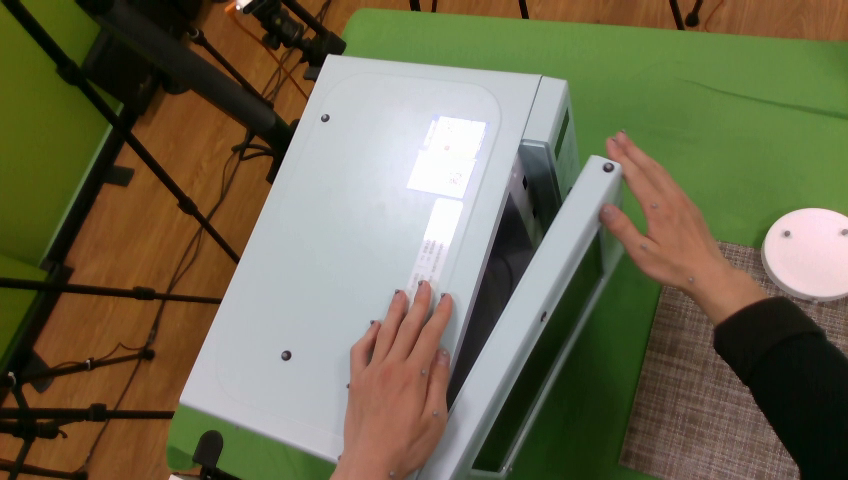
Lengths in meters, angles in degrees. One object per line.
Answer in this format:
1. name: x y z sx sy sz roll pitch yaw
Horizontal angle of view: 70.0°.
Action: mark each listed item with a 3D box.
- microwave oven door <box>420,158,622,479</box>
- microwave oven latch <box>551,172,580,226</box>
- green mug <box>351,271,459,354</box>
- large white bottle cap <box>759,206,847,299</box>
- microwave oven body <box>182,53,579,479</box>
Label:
1. microwave oven door: 0.120 0.114 0.655 0.039 0.246 0.355 25 78 26
2. microwave oven latch: 0.190 -0.058 0.816 0.030 0.030 0.079 12 74 22
3. green mug: -0.020 0.089 0.742 0.125 0.106 0.092 -1 72 11
4. large white bottle cap: 0.465 0.014 0.723 0.114 0.018 0.114 -6 67 15
5. microwave oven body: -0.029 0.039 0.740 0.324 0.262 0.440 12 74 22
